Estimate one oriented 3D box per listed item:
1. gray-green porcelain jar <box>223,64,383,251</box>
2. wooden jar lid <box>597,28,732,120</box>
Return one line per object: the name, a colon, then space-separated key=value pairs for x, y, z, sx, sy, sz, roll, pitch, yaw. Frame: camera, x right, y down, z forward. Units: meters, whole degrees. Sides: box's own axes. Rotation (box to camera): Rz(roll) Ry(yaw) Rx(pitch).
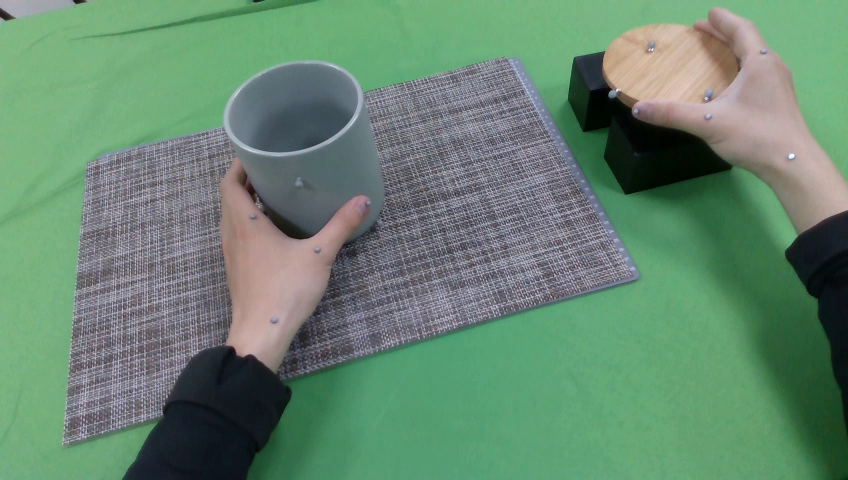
gray-green porcelain jar: x=-0.092 y=-0.060 z=0.500 sx=0.106 sy=0.128 sz=0.105 roll=-3 pitch=53 yaw=5
wooden jar lid: x=0.203 y=-0.140 z=0.516 sx=0.108 sy=0.021 sz=0.107 roll=-4 pitch=55 yaw=6
